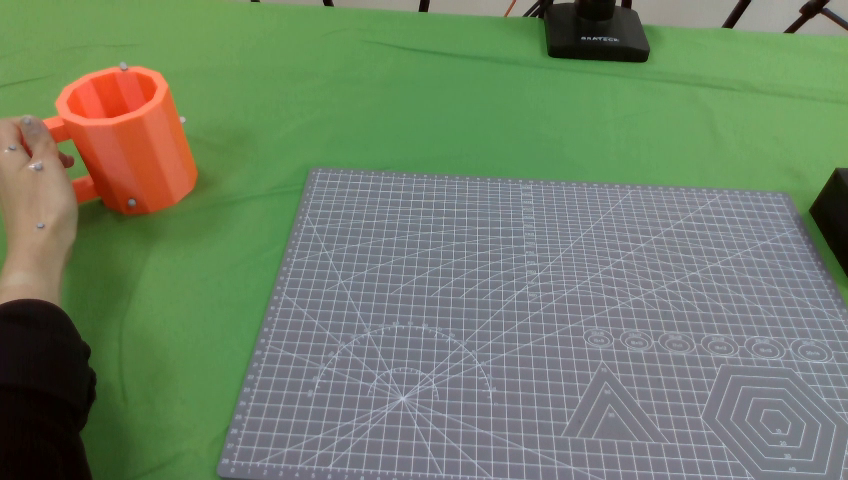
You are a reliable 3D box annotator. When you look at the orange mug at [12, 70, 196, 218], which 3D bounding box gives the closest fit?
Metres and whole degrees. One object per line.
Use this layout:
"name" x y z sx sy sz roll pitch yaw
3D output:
"orange mug" -0.270 -0.077 0.516 0.126 0.101 0.082 -23 51 -27
